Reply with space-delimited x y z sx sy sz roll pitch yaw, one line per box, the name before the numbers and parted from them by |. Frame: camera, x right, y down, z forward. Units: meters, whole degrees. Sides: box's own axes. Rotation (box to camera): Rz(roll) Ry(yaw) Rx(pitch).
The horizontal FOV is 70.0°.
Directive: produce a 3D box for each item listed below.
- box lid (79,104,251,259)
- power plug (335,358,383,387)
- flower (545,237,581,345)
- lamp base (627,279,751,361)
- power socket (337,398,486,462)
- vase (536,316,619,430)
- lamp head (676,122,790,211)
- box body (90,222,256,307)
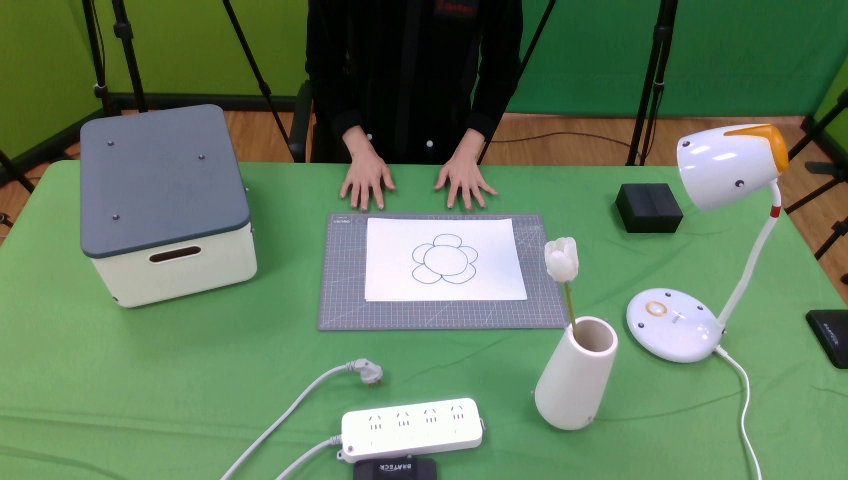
box lid | -0.467 -0.120 1.076 0.264 0.015 0.369 -13 49 -17
power plug | -0.099 0.213 0.977 0.072 0.053 0.035 -2 31 33
flower | 0.213 0.137 0.846 0.038 0.364 0.044 21 55 40
lamp base | 0.460 0.100 1.027 0.178 0.181 0.160 27 51 17
power socket | -0.018 0.285 0.914 0.227 0.033 0.071 -4 46 -8
vase | 0.229 0.200 0.901 0.098 0.201 0.097 3 46 -3
lamp head | 0.423 -0.104 0.819 0.122 0.113 0.112 -13 33 40
box body | -0.471 -0.070 1.131 0.254 0.161 0.361 -14 49 -17
